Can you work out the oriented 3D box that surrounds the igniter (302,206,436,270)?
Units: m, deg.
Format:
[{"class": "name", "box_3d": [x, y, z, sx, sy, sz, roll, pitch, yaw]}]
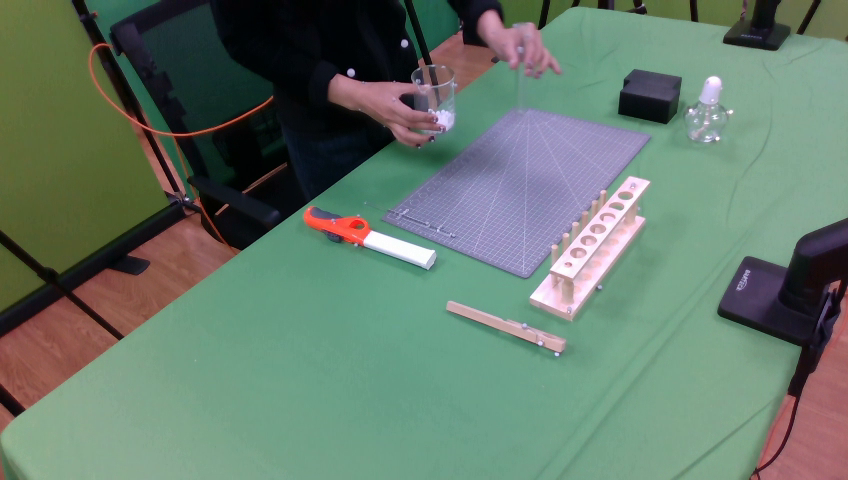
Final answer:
[{"class": "igniter", "box_3d": [-0.101, -0.007, 1.004, 0.274, 0.025, 0.057, 19, 58, 29]}]

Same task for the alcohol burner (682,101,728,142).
[{"class": "alcohol burner", "box_3d": [0.513, -0.239, 1.097, 0.078, 0.119, 0.077, -4, 40, 4]}]

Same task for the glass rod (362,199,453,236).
[{"class": "glass rod", "box_3d": [-0.032, -0.041, 1.041, 0.198, 0.008, 0.008, 22, 50, 31]}]

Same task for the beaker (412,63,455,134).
[{"class": "beaker", "box_3d": [0.017, -0.240, 1.045, 0.073, 0.100, 0.084, 14, 47, 19]}]

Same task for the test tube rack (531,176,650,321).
[{"class": "test tube rack", "box_3d": [0.246, 0.002, 0.884, 0.066, 0.085, 0.243, 22, 49, 32]}]

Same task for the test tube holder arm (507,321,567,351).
[{"class": "test tube holder arm", "box_3d": [0.148, 0.128, 0.808, 0.087, 0.015, 0.010, 16, 11, 28]}]

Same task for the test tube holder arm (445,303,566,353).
[{"class": "test tube holder arm", "box_3d": [0.107, 0.117, 0.824, 0.177, 0.015, 0.013, 16, 11, 27]}]

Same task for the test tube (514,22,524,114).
[{"class": "test tube", "box_3d": [0.156, -0.282, 1.001, 0.017, 0.151, 0.017, -3, 32, 3]}]

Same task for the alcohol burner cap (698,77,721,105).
[{"class": "alcohol burner cap", "box_3d": [0.509, -0.266, 1.072, 0.034, 0.048, 0.033, -4, 48, 5]}]
